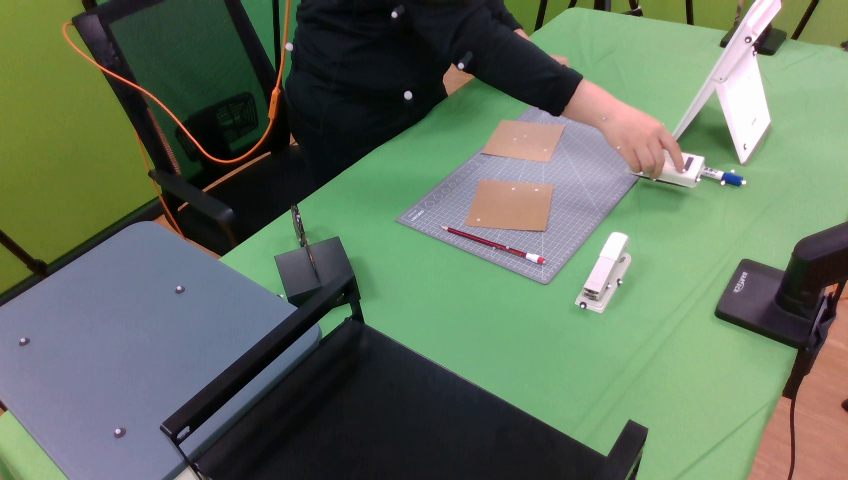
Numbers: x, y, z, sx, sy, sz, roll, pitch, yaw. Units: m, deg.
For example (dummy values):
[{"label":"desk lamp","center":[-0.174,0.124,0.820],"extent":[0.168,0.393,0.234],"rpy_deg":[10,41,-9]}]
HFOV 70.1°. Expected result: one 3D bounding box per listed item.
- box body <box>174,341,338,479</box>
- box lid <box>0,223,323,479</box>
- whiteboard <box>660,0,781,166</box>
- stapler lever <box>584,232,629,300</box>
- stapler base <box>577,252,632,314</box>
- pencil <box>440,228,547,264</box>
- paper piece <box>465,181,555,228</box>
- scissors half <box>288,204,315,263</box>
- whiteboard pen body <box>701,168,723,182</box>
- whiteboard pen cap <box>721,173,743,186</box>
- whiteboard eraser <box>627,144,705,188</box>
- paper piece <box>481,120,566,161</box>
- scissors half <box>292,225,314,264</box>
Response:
[{"label":"box body","center":[-0.311,0.165,0.720],"extent":[0.361,0.161,0.255],"rpy_deg":[23,48,32]},{"label":"box lid","center":[-0.318,0.109,0.671],"extent":[0.368,0.015,0.264],"rpy_deg":[24,49,31]},{"label":"whiteboard","center":[0.571,-0.272,1.038],"extent":[0.143,0.306,0.218],"rpy_deg":[37,54,17]},{"label":"stapler lever","center":[0.261,0.034,0.858],"extent":[0.026,0.040,0.118],"rpy_deg":[16,46,30]},{"label":"stapler base","center":[0.264,0.051,0.875],"extent":[0.041,0.024,0.131],"rpy_deg":[16,47,30]},{"label":"pencil","center":[0.105,0.006,0.957],"extent":[0.192,0.012,0.012],"rpy_deg":[18,46,30]},{"label":"paper piece","center":[0.149,-0.062,1.034],"extent":[0.137,0.009,0.136],"rpy_deg":[4,37,17]},{"label":"scissors half","center":[-0.191,-0.010,0.945],"extent":[0.013,0.040,0.173],"rpy_deg":[-16,37,-16]},{"label":"whiteboard pen body","center":[0.474,-0.122,1.052],"extent":[0.139,0.017,0.017],"rpy_deg":[26,51,31]},{"label":"whiteboard pen cap","center":[0.519,-0.103,1.020],"extent":[0.033,0.018,0.018],"rpy_deg":[24,49,29]},{"label":"whiteboard eraser","center":[0.402,-0.121,1.006],"extent":[0.112,0.042,0.055],"rpy_deg":[18,57,29]},{"label":"paper piece","center":[0.197,-0.199,1.188],"extent":[0.135,0.004,0.135],"rpy_deg":[11,43,21]},{"label":"scissors half","center":[-0.188,0.007,0.955],"extent":[0.013,0.040,0.174],"rpy_deg":[-20,22,-13]}]
